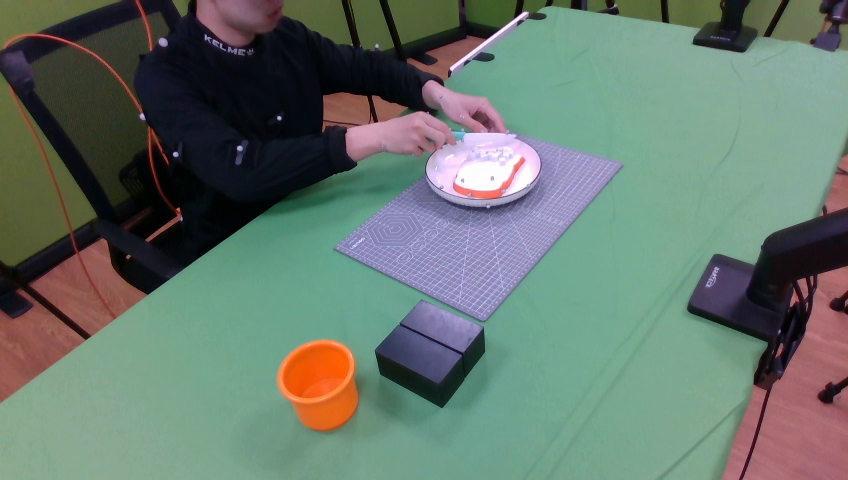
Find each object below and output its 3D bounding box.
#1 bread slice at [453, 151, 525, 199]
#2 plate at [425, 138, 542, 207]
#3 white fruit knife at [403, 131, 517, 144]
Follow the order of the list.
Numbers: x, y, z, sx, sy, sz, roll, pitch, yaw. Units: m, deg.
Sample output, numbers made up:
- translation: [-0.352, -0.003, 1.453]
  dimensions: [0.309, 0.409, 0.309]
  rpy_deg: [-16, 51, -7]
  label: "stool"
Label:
- translation: [0.112, -0.118, 1.079]
  dimensions: [0.104, 0.019, 0.131]
  rpy_deg: [11, 42, 21]
  label: "bread slice"
- translation: [0.106, -0.121, 1.079]
  dimensions: [0.209, 0.038, 0.208]
  rpy_deg: [-4, 41, 4]
  label: "plate"
- translation: [0.065, -0.186, 1.094]
  dimensions: [0.208, 0.027, 0.016]
  rpy_deg: [-2, 52, -4]
  label: "white fruit knife"
